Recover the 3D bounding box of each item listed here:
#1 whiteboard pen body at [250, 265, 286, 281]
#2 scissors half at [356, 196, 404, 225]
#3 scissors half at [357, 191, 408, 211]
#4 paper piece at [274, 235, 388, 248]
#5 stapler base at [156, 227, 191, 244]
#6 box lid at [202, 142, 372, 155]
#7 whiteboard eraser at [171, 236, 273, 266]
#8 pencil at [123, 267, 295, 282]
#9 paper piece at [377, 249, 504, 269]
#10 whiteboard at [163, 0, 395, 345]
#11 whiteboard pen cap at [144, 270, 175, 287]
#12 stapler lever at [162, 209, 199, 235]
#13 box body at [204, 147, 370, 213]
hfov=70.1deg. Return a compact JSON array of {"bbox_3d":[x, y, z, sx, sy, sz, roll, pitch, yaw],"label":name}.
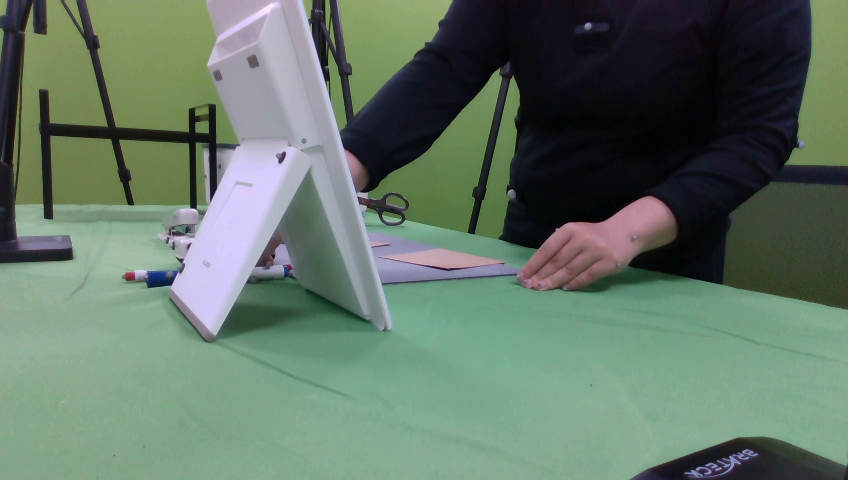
[{"bbox_3d":[-0.220,0.038,0.656,0.141,0.017,0.017,-2,9,-30],"label":"whiteboard pen body"},{"bbox_3d":[-0.127,-0.072,1.322,0.175,0.040,0.013,22,8,-5],"label":"scissors half"},{"bbox_3d":[-0.123,-0.091,1.317,0.175,0.040,0.013,5,15,-2],"label":"scissors half"},{"bbox_3d":[-0.151,0.003,0.978,0.135,0.008,0.139,14,10,35],"label":"paper piece"},{"bbox_3d":[-0.376,-0.007,0.934,0.041,0.024,0.130,1,5,-38],"label":"stapler base"},{"bbox_3d":[-0.345,-0.225,1.509,0.373,0.015,0.262,-2,8,-31],"label":"box lid"},{"bbox_3d":[-0.248,0.014,0.747,0.113,0.042,0.055,-2,9,-32],"label":"whiteboard eraser"},{"bbox_3d":[-0.233,0.037,0.686,0.195,0.012,0.012,-1,8,-30],"label":"pencil"},{"bbox_3d":[0.025,0.026,0.865,0.134,0.004,0.136,9,9,43],"label":"paper piece"},{"bbox_3d":[-0.173,-0.053,0.510,0.144,0.305,0.216,-23,19,-26],"label":"whiteboard"},{"bbox_3d":[-0.271,0.039,0.627,0.033,0.018,0.018,-4,10,-33],"label":"whiteboard pen cap"},{"bbox_3d":[-0.377,-0.031,0.932,0.027,0.040,0.117,1,7,-38],"label":"stapler lever"},{"bbox_3d":[-0.346,-0.152,1.519,0.366,0.160,0.253,-2,9,-31],"label":"box body"}]
